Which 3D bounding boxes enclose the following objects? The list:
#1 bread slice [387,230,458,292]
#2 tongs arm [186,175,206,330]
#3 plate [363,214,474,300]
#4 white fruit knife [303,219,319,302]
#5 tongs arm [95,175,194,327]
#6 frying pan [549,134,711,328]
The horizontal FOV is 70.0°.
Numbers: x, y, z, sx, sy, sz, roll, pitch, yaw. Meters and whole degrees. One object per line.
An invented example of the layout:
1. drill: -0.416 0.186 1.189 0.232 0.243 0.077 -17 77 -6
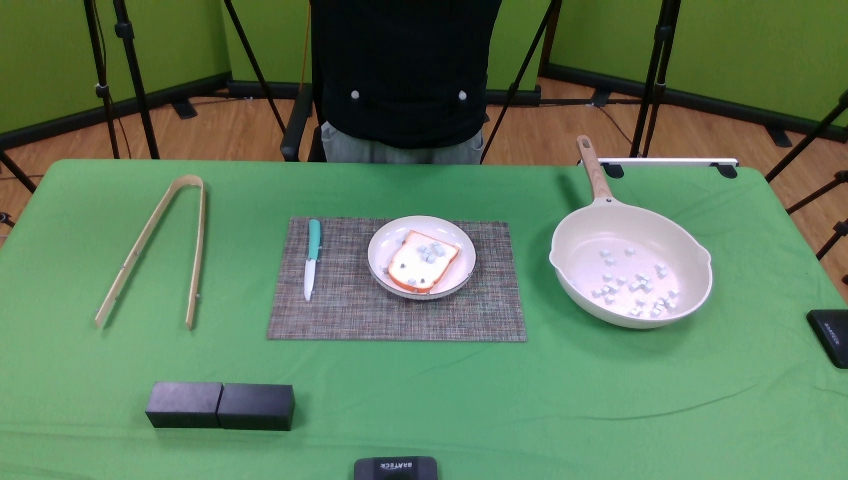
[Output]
1. bread slice: -0.007 0.043 1.142 0.107 0.018 0.134 18 46 14
2. tongs arm: -0.436 0.009 1.151 0.028 0.028 0.385 -8 47 -8
3. plate: -0.010 0.036 1.146 0.208 0.039 0.206 3 46 -2
4. white fruit knife: -0.215 0.034 1.148 0.027 0.016 0.206 -20 46 17
5. tongs arm: -0.516 0.006 1.142 0.051 0.026 0.382 4 45 -2
6. frying pan: 0.372 -0.035 1.203 0.307 0.103 0.484 -1 55 -6
